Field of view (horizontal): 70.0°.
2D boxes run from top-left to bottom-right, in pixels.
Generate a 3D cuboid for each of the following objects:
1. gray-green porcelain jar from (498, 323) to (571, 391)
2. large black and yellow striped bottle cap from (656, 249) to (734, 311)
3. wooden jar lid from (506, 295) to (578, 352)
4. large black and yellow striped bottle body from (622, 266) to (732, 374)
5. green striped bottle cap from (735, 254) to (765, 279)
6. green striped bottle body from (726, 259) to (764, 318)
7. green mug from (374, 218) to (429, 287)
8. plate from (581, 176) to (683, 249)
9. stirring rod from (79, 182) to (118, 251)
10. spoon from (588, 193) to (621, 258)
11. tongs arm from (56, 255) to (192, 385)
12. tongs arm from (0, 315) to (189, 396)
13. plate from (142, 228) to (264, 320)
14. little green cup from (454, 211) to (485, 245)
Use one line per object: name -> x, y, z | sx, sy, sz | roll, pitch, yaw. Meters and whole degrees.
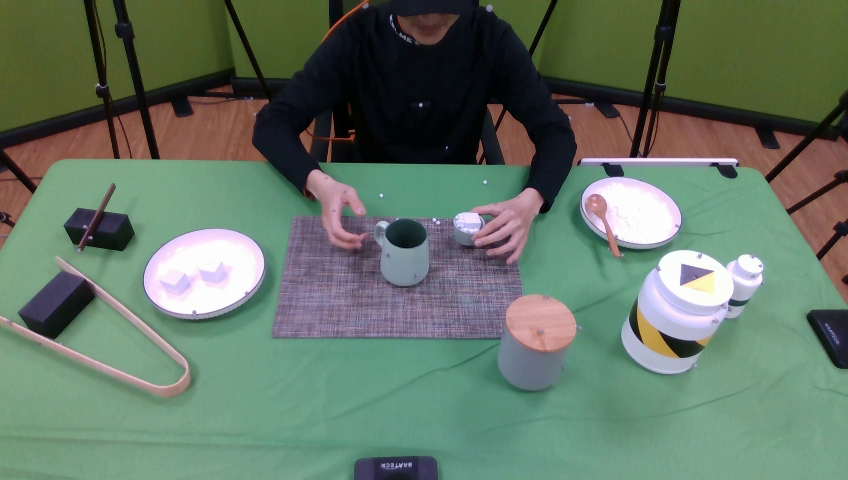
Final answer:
gray-green porcelain jar -> 0.176, 0.172, 0.971 | 0.106, 0.127, 0.105 | 2, 46, -2
large black and yellow striped bottle cap -> 0.419, 0.061, 0.938 | 0.115, 0.019, 0.114 | 2, 47, -2
wooden jar lid -> 0.179, 0.130, 0.925 | 0.108, 0.021, 0.107 | 2, 43, -2
large black and yellow striped bottle body -> 0.415, 0.119, 0.997 | 0.131, 0.185, 0.130 | 2, 46, -2
green striped bottle cap -> 0.566, 0.046, 1.051 | 0.044, 0.020, 0.044 | 0, 45, 0
green striped bottle body -> 0.563, 0.081, 1.089 | 0.063, 0.120, 0.063 | 2, 46, -2
green mug -> -0.047, 0.015, 1.116 | 0.124, 0.105, 0.092 | 36, 54, 27
plate -> 0.430, -0.054, 1.267 | 0.209, 0.038, 0.208 | 2, 46, -2
stirring rod -> -0.605, -0.047, 1.130 | 0.006, 0.014, 0.175 | 0, 47, 0
spoon -> 0.367, -0.032, 1.220 | 0.041, 0.022, 0.192 | 1, 38, -1
tongs arm -> -0.517, 0.126, 1.033 | 0.386, 0.028, 0.028 | 30, 43, 23
tongs arm -> -0.555, 0.170, 0.981 | 0.384, 0.026, 0.050 | 21, 43, 14
plate -> -0.394, 0.064, 1.095 | 0.208, 0.039, 0.206 | 2, 46, -2
little green cup -> 0.086, -0.022, 1.177 | 0.061, 0.039, 0.061 | 3, 47, -3
